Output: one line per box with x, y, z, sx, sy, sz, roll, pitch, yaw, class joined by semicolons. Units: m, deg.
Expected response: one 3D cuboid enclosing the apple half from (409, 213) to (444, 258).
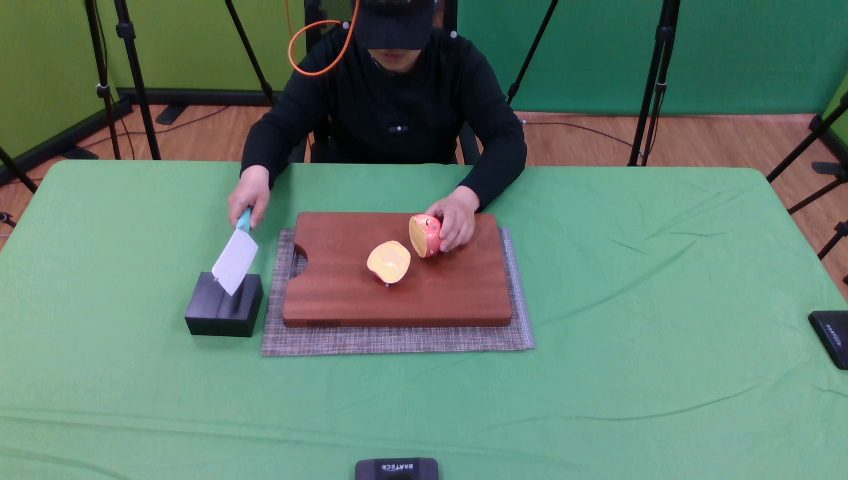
0.010;-0.010;1.134;0.053;0.075;0.080;-14;45;-23;apple half

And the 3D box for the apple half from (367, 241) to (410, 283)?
-0.059;0.043;1.100;0.081;0.033;0.081;-3;67;8;apple half

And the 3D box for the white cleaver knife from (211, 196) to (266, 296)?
-0.329;0.004;1.106;0.021;0.066;0.285;-23;29;16;white cleaver knife
